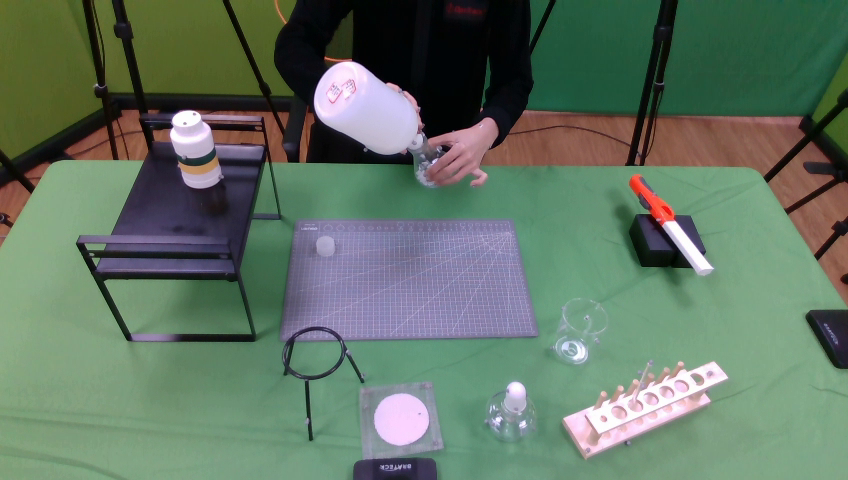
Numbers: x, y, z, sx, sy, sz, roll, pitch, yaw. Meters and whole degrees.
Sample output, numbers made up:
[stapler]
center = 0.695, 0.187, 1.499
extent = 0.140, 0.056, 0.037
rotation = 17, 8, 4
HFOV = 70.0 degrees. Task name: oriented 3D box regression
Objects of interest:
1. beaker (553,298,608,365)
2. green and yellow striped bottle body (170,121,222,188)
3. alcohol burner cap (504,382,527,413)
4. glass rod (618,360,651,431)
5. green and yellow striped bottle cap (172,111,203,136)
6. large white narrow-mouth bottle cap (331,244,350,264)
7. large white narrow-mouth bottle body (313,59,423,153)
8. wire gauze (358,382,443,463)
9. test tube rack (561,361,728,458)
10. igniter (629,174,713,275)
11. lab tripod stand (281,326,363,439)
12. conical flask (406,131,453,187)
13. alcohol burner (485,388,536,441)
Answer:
[beaker]
center = 0.260, 0.154, 1.014
extent = 0.073, 0.101, 0.084
rotation = 37, 54, 27
[green and yellow striped bottle body]
center = -0.375, -0.149, 0.995
extent = 0.063, 0.120, 0.063
rotation = 2, 46, -2
[alcohol burner cap]
center = 0.132, 0.225, 0.877
extent = 0.034, 0.048, 0.033
rotation = -4, 47, 4
[glass rod]
center = 0.298, 0.227, 0.865
extent = 0.008, 0.201, 0.008
rotation = -2, 47, 2
[green and yellow striped bottle cap]
center = -0.374, -0.185, 0.957
extent = 0.045, 0.020, 0.045
rotation = 4, 45, -3
[large white narrow-mouth bottle cap]
center = -0.160, 0.026, 1.161
extent = 0.038, 0.024, 0.037
rotation = 4, 46, -4
[large white narrow-mouth bottle body]
center = -0.071, -0.190, 0.932
extent = 0.101, 0.196, 0.101
rotation = -15, 65, 34
[wire gauze]
center = -0.039, 0.276, 0.937
extent = 0.121, 0.011, 0.124
rotation = -4, 47, -7
[test tube rack]
center = 0.341, 0.248, 0.940
extent = 0.243, 0.085, 0.066
rotation = -15, 49, -18
[igniter]
center = 0.481, -0.040, 1.202
extent = 0.057, 0.025, 0.274
rotation = -2, 46, -21
[lab tripod stand]
center = -0.166, 0.203, 0.913
extent = 0.148, 0.132, 0.147
rotation = 1, 47, -1
[conical flask]
center = 0.002, -0.147, 1.063
extent = 0.075, 0.122, 0.075
rotation = -5, 72, 16
[alcohol burner]
center = 0.131, 0.249, 0.904
extent = 0.078, 0.120, 0.077
rotation = 1, 48, -1
